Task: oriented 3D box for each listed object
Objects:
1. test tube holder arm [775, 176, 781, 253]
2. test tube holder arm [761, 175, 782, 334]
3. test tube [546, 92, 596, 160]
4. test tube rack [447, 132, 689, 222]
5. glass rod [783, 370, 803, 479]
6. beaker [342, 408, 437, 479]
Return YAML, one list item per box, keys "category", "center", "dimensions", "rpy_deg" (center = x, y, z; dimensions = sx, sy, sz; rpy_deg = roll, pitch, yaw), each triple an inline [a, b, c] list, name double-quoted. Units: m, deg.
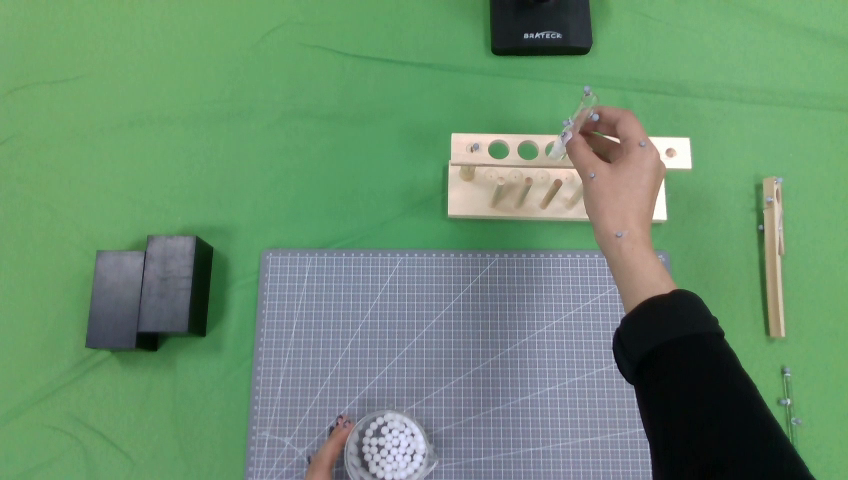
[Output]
- category: "test tube holder arm"
  center: [0.391, -0.028, 0.677]
  dimensions: [0.010, 0.015, 0.087]
  rpy_deg: [15, 75, -31]
- category: "test tube holder arm"
  center: [0.381, 0.014, 0.665]
  dimensions: [0.013, 0.015, 0.177]
  rpy_deg: [13, 75, -31]
- category: "test tube"
  center: [0.136, -0.101, 0.580]
  dimensions: [0.017, 0.151, 0.017]
  rpy_deg: [0, 76, -1]
- category: "test tube rack"
  center: [0.147, -0.065, 0.651]
  dimensions: [0.242, 0.085, 0.066]
  rpy_deg: [1, 76, 0]
- category: "glass rod"
  center: [0.380, 0.234, 0.616]
  dimensions: [0.008, 0.008, 0.198]
  rpy_deg: [2, 76, 0]
- category: "beaker"
  center: [-0.029, 0.197, 0.575]
  dimensions: [0.084, 0.100, 0.073]
  rpy_deg: [9, 76, 2]
